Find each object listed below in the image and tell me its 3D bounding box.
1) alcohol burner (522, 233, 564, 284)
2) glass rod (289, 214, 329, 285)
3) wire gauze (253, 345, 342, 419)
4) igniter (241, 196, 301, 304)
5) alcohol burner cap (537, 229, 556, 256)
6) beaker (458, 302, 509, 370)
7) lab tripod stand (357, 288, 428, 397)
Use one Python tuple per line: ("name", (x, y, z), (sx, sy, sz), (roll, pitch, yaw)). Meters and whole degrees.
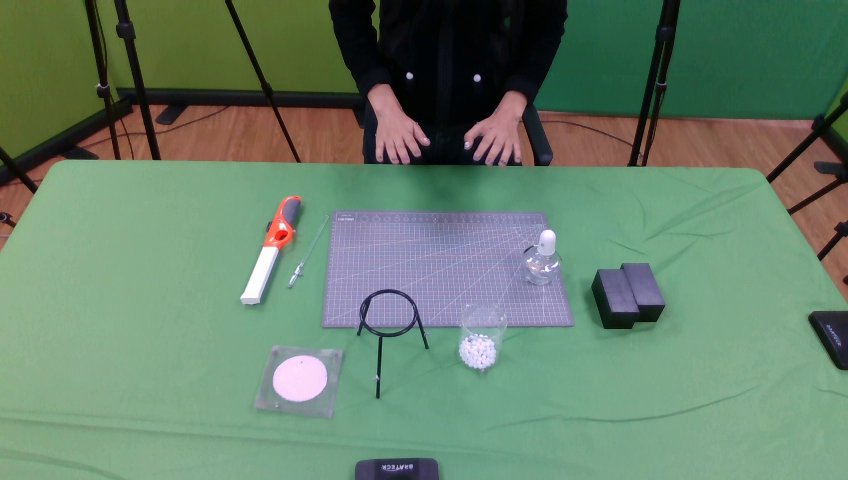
("alcohol burner", (0.223, 0.027, 1.121), (0.078, 0.119, 0.077), (2, 48, -2))
("glass rod", (-0.221, 0.014, 1.179), (0.008, 0.008, 0.199), (12, 46, 8))
("wire gauze", (-0.200, 0.224, 0.979), (0.125, 0.011, 0.121), (7, 47, 0))
("igniter", (-0.290, 0.010, 1.164), (0.057, 0.025, 0.275), (0, 45, 10))
("alcohol burner cap", (0.223, 0.001, 1.095), (0.034, 0.048, 0.033), (0, 44, 1))
("beaker", (0.092, 0.159, 0.999), (0.083, 0.101, 0.074), (35, 53, 28))
("lab tripod stand", (-0.057, 0.155, 0.967), (0.148, 0.132, 0.147), (3, 47, -3))
